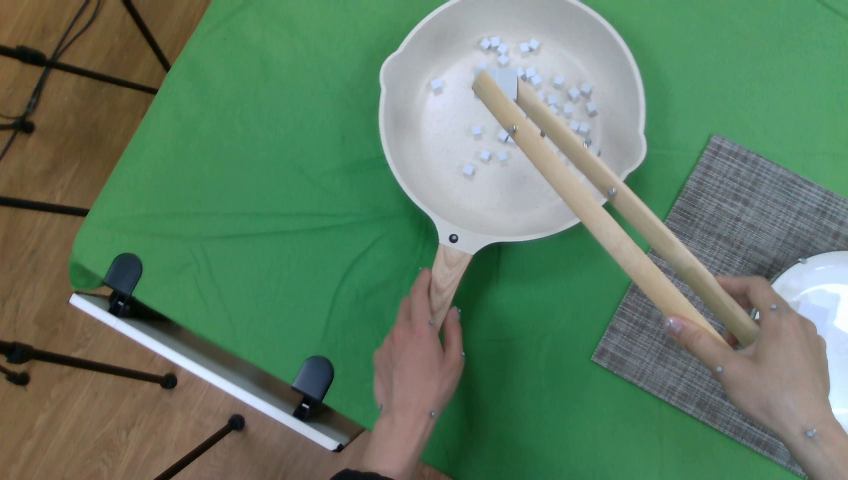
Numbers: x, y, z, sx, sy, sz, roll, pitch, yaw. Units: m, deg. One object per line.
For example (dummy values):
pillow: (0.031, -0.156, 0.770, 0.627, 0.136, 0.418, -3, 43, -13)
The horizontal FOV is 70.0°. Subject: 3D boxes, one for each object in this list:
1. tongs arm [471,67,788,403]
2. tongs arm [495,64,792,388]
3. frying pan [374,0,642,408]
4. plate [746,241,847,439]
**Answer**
tongs arm: (0.163, -0.018, 0.537, 0.384, 0.028, 0.028, 53, 133, 19)
tongs arm: (0.180, -0.024, 0.552, 0.051, 0.026, 0.382, -25, 68, -42)
frying pan: (0.053, -0.050, 0.674, 0.306, 0.103, 0.486, 21, 77, 7)
plate: (0.450, 0.106, 0.654, 0.207, 0.039, 0.207, -1, 83, 5)
